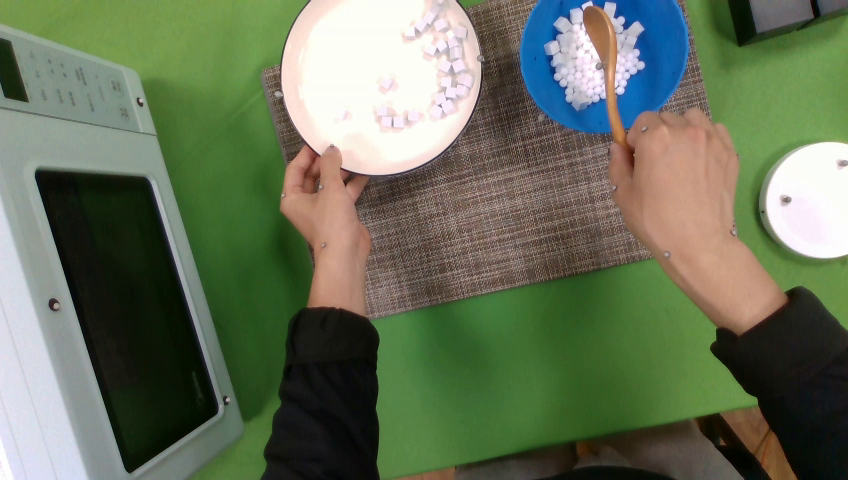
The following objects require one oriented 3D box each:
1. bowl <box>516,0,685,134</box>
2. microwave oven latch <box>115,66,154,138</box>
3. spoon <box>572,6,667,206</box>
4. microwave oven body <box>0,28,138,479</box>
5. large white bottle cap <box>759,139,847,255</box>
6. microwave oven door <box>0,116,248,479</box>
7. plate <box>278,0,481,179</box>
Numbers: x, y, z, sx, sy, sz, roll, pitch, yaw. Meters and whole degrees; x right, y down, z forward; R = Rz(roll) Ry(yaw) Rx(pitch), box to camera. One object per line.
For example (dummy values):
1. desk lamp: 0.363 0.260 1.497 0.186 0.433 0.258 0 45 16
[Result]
1. bowl: 0.166 -0.175 0.589 0.151 0.077 0.151 1 95 9
2. microwave oven latch: -0.330 -0.150 0.675 0.030 0.029 0.079 -17 92 9
3. spoon: 0.168 -0.117 0.525 0.022 0.042 0.192 -10 76 -16
4. microwave oven body: -0.437 0.066 0.611 0.326 0.260 0.442 -16 92 9
5. large white bottle cap: 0.394 -0.042 0.598 0.114 0.018 0.115 1 95 8
6. microwave oven door: -0.287 0.067 0.583 0.039 0.244 0.356 -17 92 10
7. plate: -0.044 -0.165 0.622 0.209 0.038 0.209 0 91 8
